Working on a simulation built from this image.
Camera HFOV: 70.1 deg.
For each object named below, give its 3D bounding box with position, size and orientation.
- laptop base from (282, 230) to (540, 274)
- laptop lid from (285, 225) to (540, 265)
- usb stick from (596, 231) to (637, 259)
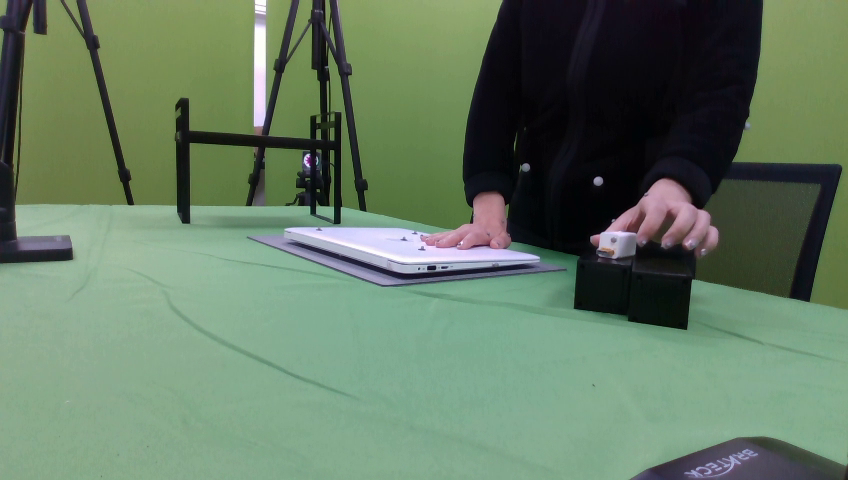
[{"bbox_3d":[-0.033,0.014,0.896,0.237,0.023,0.352,1,7,-37],"label":"laptop base"},{"bbox_3d":[-0.031,0.003,0.896,0.243,0.013,0.355,0,8,-35],"label":"laptop lid"},{"bbox_3d":[0.197,0.005,0.625,0.021,0.027,0.059,9,12,43],"label":"usb stick"}]
